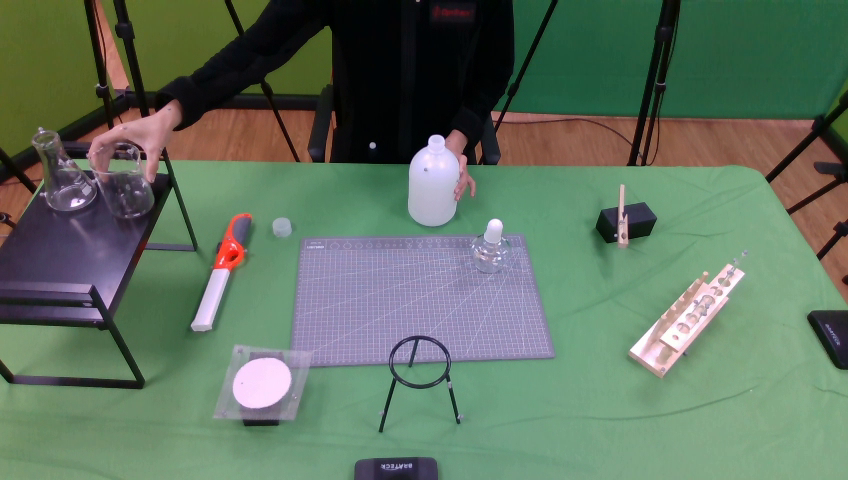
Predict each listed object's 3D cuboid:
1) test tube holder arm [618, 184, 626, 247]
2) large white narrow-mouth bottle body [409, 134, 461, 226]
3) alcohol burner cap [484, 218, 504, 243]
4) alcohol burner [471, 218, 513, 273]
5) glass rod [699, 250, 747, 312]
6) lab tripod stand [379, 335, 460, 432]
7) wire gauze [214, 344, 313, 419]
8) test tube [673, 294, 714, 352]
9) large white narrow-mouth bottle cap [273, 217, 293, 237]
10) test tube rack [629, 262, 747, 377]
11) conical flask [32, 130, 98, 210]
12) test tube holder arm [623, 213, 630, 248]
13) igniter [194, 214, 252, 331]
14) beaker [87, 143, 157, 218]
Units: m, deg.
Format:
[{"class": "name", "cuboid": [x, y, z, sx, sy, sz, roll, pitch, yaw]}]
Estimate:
[{"class": "test tube holder arm", "cuboid": [0.396, -0.053, 1.210, 0.013, 0.015, 0.177, 14, 47, 1]}, {"class": "large white narrow-mouth bottle body", "cuboid": [0.022, -0.125, 1.197, 0.102, 0.195, 0.101, 1, 48, -1]}, {"class": "alcohol burner cap", "cuboid": [0.130, -0.021, 1.106, 0.034, 0.048, 0.033, 3, 51, -4]}, {"class": "alcohol burner", "cuboid": [0.128, 0.005, 1.132, 0.078, 0.120, 0.077, 0, 47, 0]}, {"class": "glass rod", "cuboid": [0.500, 0.075, 1.021, 0.008, 0.201, 0.008, 0, 55, 1]}, {"class": "lab tripod stand", "cuboid": [-0.010, 0.214, 0.911, 0.148, 0.132, 0.147, 1, 45, 0]}, {"class": "wire gauze", "cuboid": [-0.241, 0.213, 0.915, 0.121, 0.011, 0.124, 5, 46, 1]}, {"class": "test tube", "cuboid": [0.428, 0.137, 0.978, 0.017, 0.151, 0.017, 4, 47, -4]}, {"class": "large white narrow-mouth bottle cap", "cuboid": [-0.281, -0.025, 1.203, 0.038, 0.024, 0.037, 2, 46, -2]}, {"class": "test tube rack", "cuboid": [0.464, 0.126, 1.060, 0.242, 0.085, 0.066, -34, 56, -31]}, {"class": "conical flask", "cuboid": [-0.565, -0.111, 0.944, 0.075, 0.122, 0.075, 2, 46, -2]}, {"class": "test tube holder arm", "cuboid": [0.393, -0.020, 1.179, 0.010, 0.015, 0.087, 14, 47, 0]}, {"class": "igniter", "cuboid": [-0.367, 0.050, 1.119, 0.057, 0.025, 0.275, -3, 46, 7]}, {"class": "beaker", "cuboid": [-0.464, -0.089, 0.945, 0.084, 0.101, 0.074, 21, 50, 15]}]
